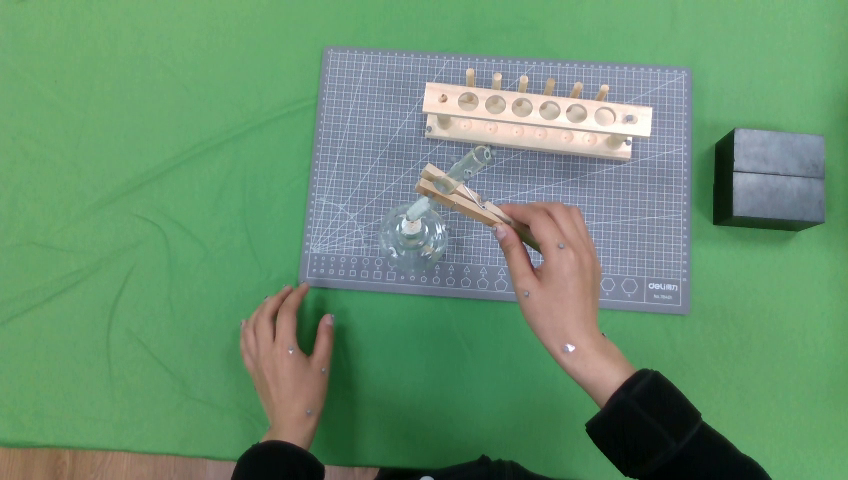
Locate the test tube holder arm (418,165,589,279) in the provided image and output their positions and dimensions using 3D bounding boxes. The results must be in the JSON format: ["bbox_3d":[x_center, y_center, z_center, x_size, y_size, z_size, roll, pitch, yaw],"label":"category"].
[{"bbox_3d":[0.072,-0.014,0.529,0.179,0.015,0.013,30,70,-13],"label":"test tube holder arm"}]

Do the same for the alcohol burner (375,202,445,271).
[{"bbox_3d":[-0.015,-0.007,0.654,0.078,0.119,0.077,0,79,0],"label":"alcohol burner"}]

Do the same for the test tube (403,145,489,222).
[{"bbox_3d":[0.013,-0.043,0.511,0.017,0.150,0.017,7,72,-22],"label":"test tube"}]

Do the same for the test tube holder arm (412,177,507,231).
[{"bbox_3d":[0.031,-0.029,0.516,0.088,0.015,0.010,24,71,-16],"label":"test tube holder arm"}]

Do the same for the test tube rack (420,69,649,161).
[{"bbox_3d":[0.121,-0.147,0.688,0.242,0.085,0.066,7,81,2],"label":"test tube rack"}]
